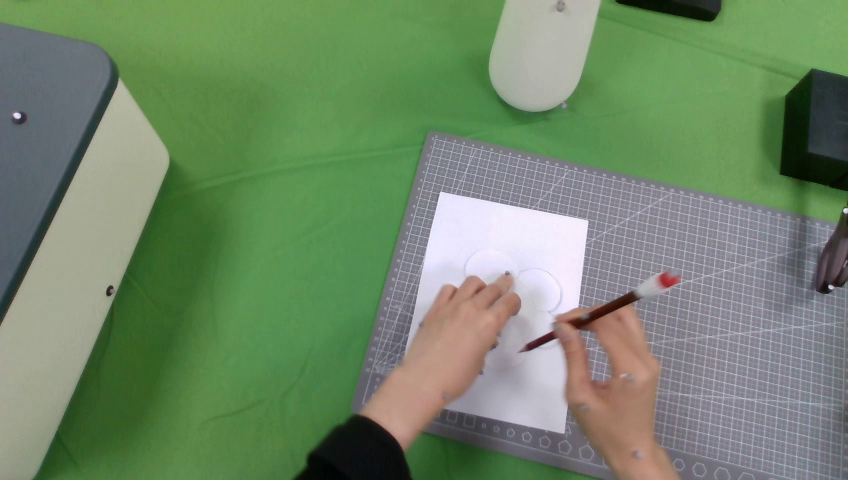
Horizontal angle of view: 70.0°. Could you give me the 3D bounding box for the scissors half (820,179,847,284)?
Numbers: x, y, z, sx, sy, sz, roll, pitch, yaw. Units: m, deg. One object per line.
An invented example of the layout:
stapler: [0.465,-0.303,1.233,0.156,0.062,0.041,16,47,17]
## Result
scissors half: [0.402,-0.039,0.569,0.013,0.040,0.174,19,72,15]

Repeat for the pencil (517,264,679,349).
pencil: [0.115,0.056,0.444,0.012,0.194,0.012,9,64,-19]

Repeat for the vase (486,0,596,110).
vase: [0.114,-0.212,0.577,0.098,0.201,0.097,0,69,0]

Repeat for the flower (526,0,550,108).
flower: [0.112,-0.253,0.503,0.044,0.365,0.038,7,53,5]

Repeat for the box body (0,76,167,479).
box body: [-0.411,0.009,0.507,0.254,0.161,0.362,13,71,3]

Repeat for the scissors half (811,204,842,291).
scissors half: [0.407,-0.034,0.588,0.012,0.040,0.175,18,90,20]

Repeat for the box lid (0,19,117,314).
box lid: [-0.409,-0.019,0.437,0.263,0.015,0.369,14,71,3]
